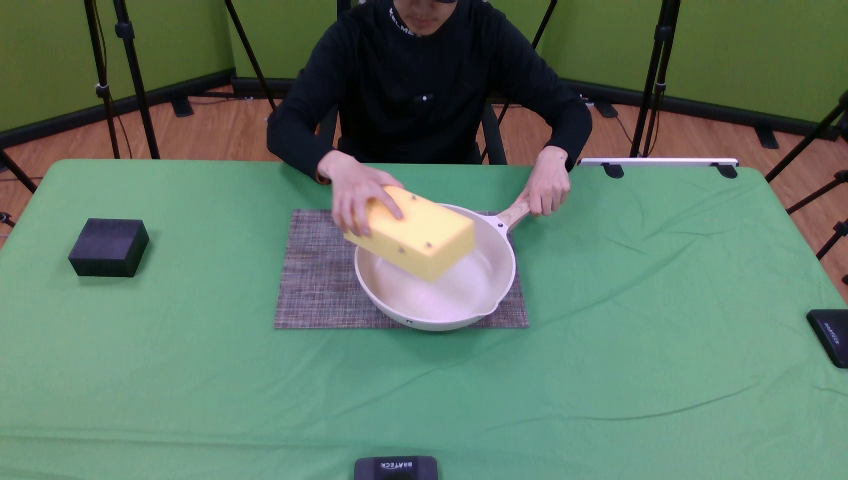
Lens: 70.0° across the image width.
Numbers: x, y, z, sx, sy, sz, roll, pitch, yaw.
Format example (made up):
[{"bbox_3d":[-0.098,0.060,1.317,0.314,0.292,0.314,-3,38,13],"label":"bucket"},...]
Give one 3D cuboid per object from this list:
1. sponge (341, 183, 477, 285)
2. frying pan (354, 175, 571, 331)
[{"bbox_3d":[-0.027,-0.016,1.037,0.206,0.061,0.118,26,48,32],"label":"sponge"},{"bbox_3d":[0.102,-0.001,1.142,0.488,0.103,0.305,-32,56,-20],"label":"frying pan"}]
